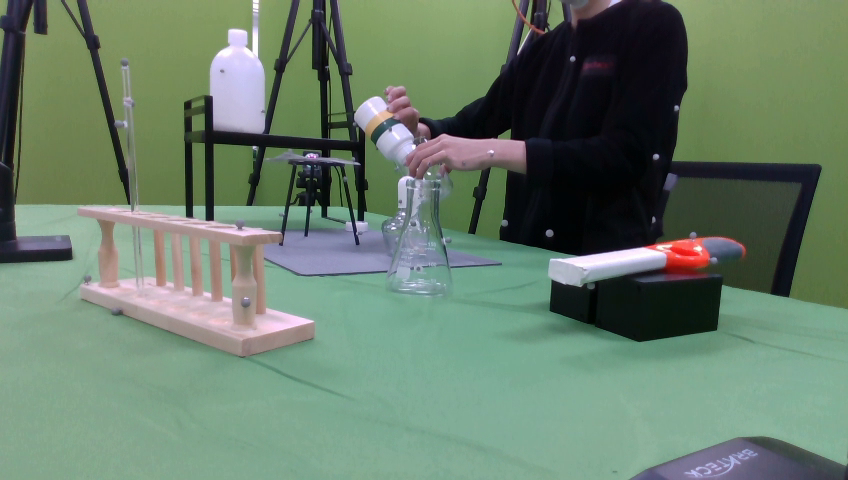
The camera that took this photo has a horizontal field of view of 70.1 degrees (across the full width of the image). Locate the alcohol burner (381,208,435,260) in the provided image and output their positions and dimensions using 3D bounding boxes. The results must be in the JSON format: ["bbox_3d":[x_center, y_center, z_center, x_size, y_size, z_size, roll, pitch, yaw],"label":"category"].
[{"bbox_3d":[-0.023,-0.032,0.871,0.078,0.119,0.078,1,6,0],"label":"alcohol burner"}]

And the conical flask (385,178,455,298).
[{"bbox_3d":[-0.002,-0.004,0.639,0.075,0.122,0.075,2,7,0],"label":"conical flask"}]

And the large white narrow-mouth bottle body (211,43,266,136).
[{"bbox_3d":[-0.361,-0.302,1.176,0.102,0.194,0.102,1,7,0],"label":"large white narrow-mouth bottle body"}]

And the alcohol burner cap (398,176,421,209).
[{"bbox_3d":[-0.023,-0.068,0.866,0.034,0.048,0.034,-5,8,1],"label":"alcohol burner cap"}]

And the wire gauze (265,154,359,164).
[{"bbox_3d":[-0.181,-0.129,0.969,0.126,0.011,0.121,-1,7,-27],"label":"wire gauze"}]

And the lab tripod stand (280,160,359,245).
[{"bbox_3d":[-0.176,-0.062,0.973,0.148,0.131,0.148,1,7,0],"label":"lab tripod stand"}]

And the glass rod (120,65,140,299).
[{"bbox_3d":[-0.249,-0.047,0.513,0.008,0.199,0.008,-1,4,0],"label":"glass rod"}]

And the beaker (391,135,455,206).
[{"bbox_3d":[0.001,-0.116,1.019,0.074,0.100,0.084,-20,-19,-29],"label":"beaker"}]

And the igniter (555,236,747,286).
[{"bbox_3d":[0.221,0.017,0.558,0.278,0.025,0.057,-5,15,-39],"label":"igniter"}]

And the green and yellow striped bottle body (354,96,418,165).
[{"bbox_3d":[-0.062,-0.187,1.054,0.063,0.119,0.063,-37,-11,-8],"label":"green and yellow striped bottle body"}]

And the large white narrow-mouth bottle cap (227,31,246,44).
[{"bbox_3d":[-0.361,-0.388,1.166,0.038,0.024,0.037,1,7,0],"label":"large white narrow-mouth bottle cap"}]

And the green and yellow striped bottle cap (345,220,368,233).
[{"bbox_3d":[-0.130,-0.026,1.169,0.045,0.020,0.045,3,9,0],"label":"green and yellow striped bottle cap"}]

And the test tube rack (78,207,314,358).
[{"bbox_3d":[-0.196,0.023,0.500,0.241,0.085,0.067,8,9,37],"label":"test tube rack"}]
